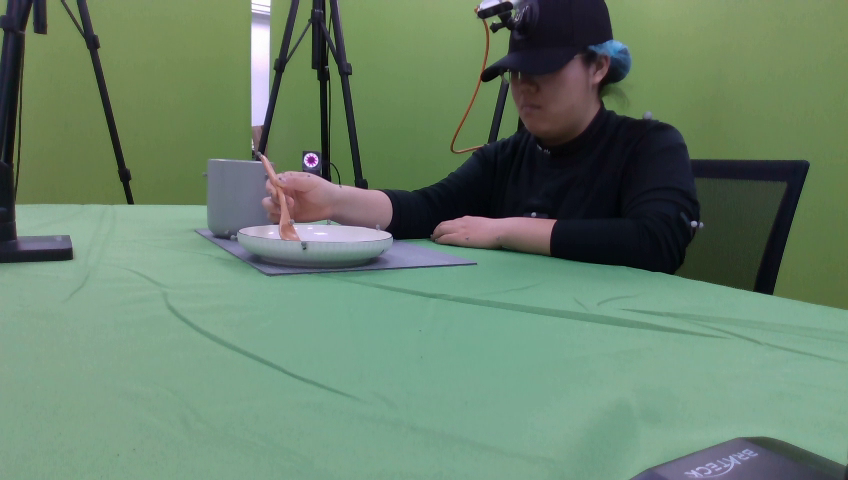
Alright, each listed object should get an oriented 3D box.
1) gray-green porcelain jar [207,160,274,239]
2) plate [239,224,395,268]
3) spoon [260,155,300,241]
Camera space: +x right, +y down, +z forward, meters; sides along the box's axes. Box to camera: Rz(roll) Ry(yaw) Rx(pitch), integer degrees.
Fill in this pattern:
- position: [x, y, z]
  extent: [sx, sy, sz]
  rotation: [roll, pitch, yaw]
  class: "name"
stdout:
- position: [-0.304, -0.068, 1.003]
  extent: [0.106, 0.126, 0.106]
  rotation: [3, 7, 0]
  class: "gray-green porcelain jar"
- position: [-0.144, 0.007, 0.823]
  extent: [0.208, 0.039, 0.207]
  rotation: [3, 7, 0]
  class: "plate"
- position: [-0.202, -0.054, 0.849]
  extent: [0.021, 0.193, 0.042]
  rotation: [-37, -35, 20]
  class: "spoon"
